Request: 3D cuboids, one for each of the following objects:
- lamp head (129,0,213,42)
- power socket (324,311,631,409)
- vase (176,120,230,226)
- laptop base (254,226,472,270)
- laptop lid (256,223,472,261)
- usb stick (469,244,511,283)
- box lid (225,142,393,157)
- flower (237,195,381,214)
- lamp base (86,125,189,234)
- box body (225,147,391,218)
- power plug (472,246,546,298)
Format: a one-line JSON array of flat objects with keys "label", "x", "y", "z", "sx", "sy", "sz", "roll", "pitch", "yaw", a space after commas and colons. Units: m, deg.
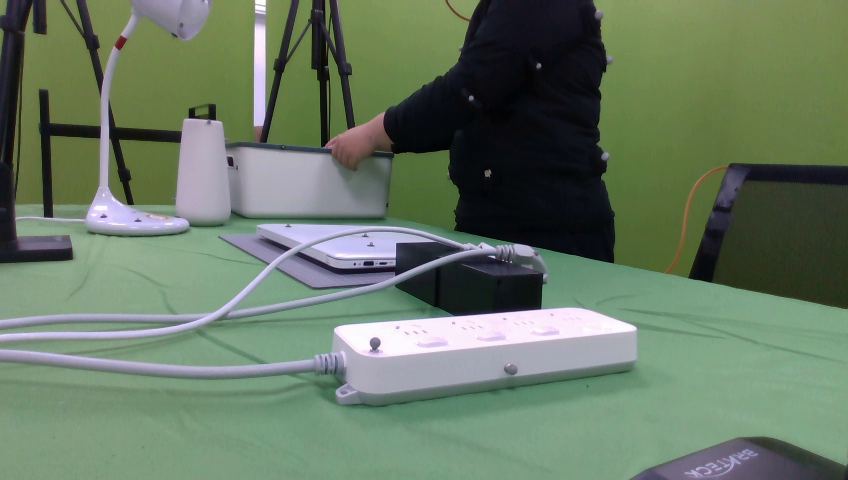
[{"label": "lamp head", "x": -0.423, "y": -0.394, "z": 0.980, "sx": 0.123, "sy": 0.112, "sz": 0.112, "roll": 20, "pitch": 7, "yaw": -3}, {"label": "power socket", "x": 0.042, "y": 0.075, "z": 0.411, "sx": 0.228, "sy": 0.032, "sz": 0.072, "roll": -1, "pitch": 8, "yaw": -25}, {"label": "vase", "x": -0.425, "y": -0.128, "z": 1.159, "sx": 0.098, "sy": 0.200, "sz": 0.098, "roll": 2, "pitch": 9, "yaw": 0}, {"label": "laptop base", "x": -0.095, "y": 0.011, "z": 0.912, "sx": 0.237, "sy": 0.023, "sz": 0.352, "roll": 3, "pitch": 6, "yaw": -32}, {"label": "laptop lid", "x": -0.092, "y": 0.000, "z": 0.912, "sx": 0.243, "sy": 0.013, "sz": 0.355, "roll": 2, "pitch": 7, "yaw": -30}, {"label": "usb stick", "x": 0.080, "y": 0.029, "z": 0.674, "sx": 0.059, "sy": 0.021, "sz": 0.027, "roll": 28, "pitch": 26, "yaw": -29}, {"label": "box lid", "x": -0.286, "y": -0.217, "z": 1.464, "sx": 0.373, "sy": 0.015, "sz": 0.262, "roll": -1, "pitch": 7, "yaw": -28}, {"label": "flower", "x": -0.284, "y": -0.080, "z": 1.482, "sx": 0.361, "sy": 0.038, "sz": 0.044, "roll": 5, "pitch": 35, "yaw": 7}, {"label": "lamp base", "x": -0.497, "y": -0.105, "z": 1.027, "sx": 0.179, "sy": 0.180, "sz": 0.160, "roll": 1, "pitch": 7, "yaw": 3}, {"label": "box body", "x": -0.289, "y": -0.143, "z": 1.475, "sx": 0.366, "sy": 0.160, "sz": 0.253, "roll": -1, "pitch": 9, "yaw": -29}, {"label": "power plug", "x": 0.081, "y": 0.030, "z": 0.584, "sx": 0.072, "sy": 0.052, "sz": 0.035, "roll": 11, "pitch": 27, "yaw": 9}]
